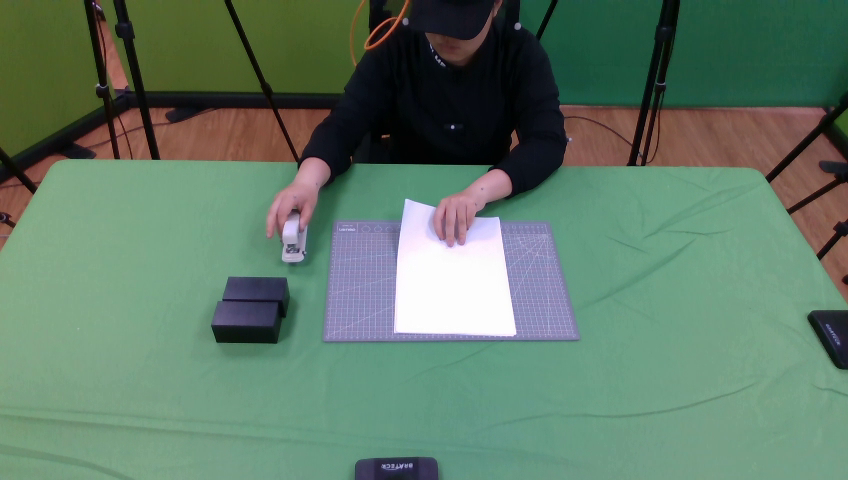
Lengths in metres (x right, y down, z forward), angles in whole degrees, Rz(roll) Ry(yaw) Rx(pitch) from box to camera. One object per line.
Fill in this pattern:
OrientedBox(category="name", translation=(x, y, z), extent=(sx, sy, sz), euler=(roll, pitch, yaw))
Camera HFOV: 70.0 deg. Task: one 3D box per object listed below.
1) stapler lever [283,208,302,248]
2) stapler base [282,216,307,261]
OrientedBox(category="stapler lever", translation=(-0.249, -0.031, 1.150), extent=(0.027, 0.040, 0.117), euler=(0, 38, -6))
OrientedBox(category="stapler base", translation=(-0.249, -0.010, 1.165), extent=(0.041, 0.024, 0.129), euler=(0, 38, -6))
